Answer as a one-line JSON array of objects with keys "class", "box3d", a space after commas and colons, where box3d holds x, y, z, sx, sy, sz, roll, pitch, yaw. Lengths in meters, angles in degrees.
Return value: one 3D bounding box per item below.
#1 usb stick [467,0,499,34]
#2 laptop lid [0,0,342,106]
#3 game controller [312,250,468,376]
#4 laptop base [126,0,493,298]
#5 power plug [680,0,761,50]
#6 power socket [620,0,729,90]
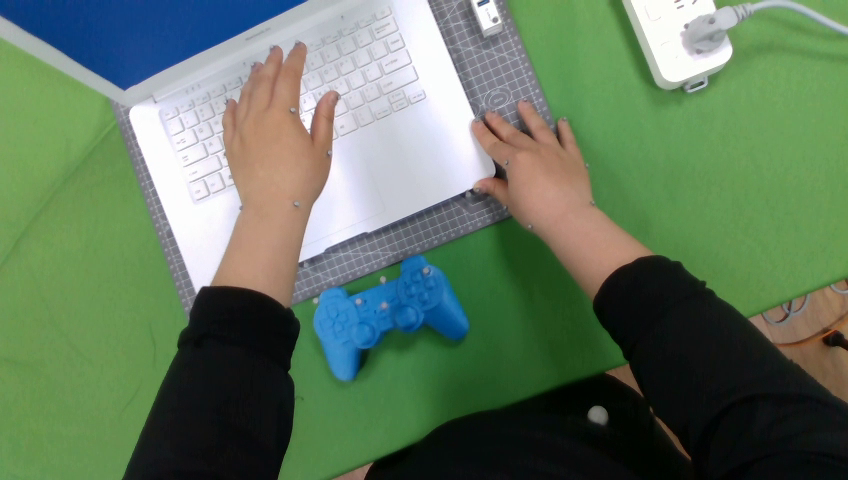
[{"class": "usb stick", "box3d": [0.057, -0.245, 0.623, 0.021, 0.027, 0.059, -22, 84, 8]}, {"class": "laptop lid", "box3d": [-0.198, -0.237, 0.546, 0.356, 0.243, 0.013, -23, 77, 8]}, {"class": "game controller", "box3d": [-0.041, 0.074, 0.626, 0.155, 0.052, 0.097, -22, 82, 7]}, {"class": "laptop base", "box3d": [-0.129, -0.109, 0.654, 0.354, 0.023, 0.235, -23, 89, 7]}, {"class": "power plug", "box3d": [0.280, -0.201, 0.571, 0.072, 0.053, 0.035, -10, 87, 3]}, {"class": "power socket", "box3d": [0.228, -0.259, 0.598, 0.072, 0.032, 0.226, -21, 86, 8]}]
